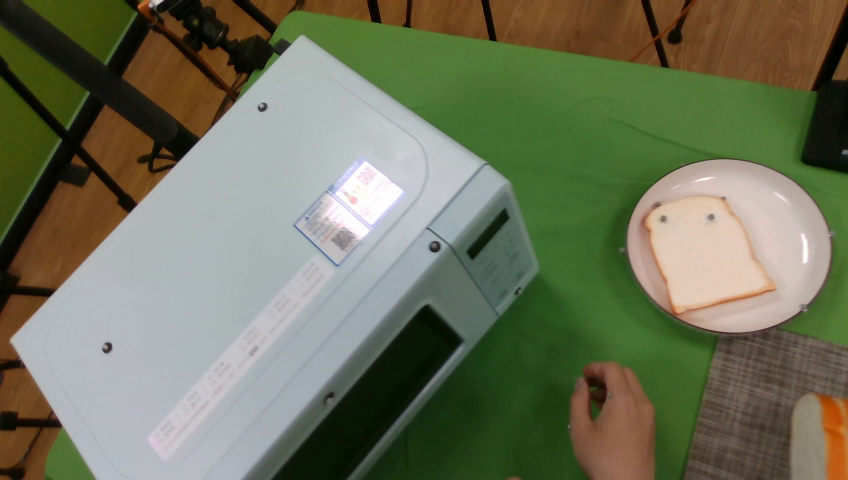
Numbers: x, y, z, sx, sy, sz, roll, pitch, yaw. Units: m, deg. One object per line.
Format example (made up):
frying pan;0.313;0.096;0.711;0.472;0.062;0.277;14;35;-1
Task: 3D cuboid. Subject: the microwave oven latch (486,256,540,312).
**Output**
microwave oven latch;0.103;0.046;0.715;0.079;0.030;0.030;-47;64;-4

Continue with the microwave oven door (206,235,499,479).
microwave oven door;-0.073;0.171;0.605;0.039;0.246;0.355;39;84;27

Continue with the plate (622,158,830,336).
plate;0.331;0.008;0.680;0.207;0.039;0.206;-6;67;15

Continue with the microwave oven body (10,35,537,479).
microwave oven body;-0.145;0.060;0.678;0.323;0.262;0.441;39;85;26

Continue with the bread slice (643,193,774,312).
bread slice;0.308;0.011;0.684;0.107;0.018;0.133;-18;63;6
